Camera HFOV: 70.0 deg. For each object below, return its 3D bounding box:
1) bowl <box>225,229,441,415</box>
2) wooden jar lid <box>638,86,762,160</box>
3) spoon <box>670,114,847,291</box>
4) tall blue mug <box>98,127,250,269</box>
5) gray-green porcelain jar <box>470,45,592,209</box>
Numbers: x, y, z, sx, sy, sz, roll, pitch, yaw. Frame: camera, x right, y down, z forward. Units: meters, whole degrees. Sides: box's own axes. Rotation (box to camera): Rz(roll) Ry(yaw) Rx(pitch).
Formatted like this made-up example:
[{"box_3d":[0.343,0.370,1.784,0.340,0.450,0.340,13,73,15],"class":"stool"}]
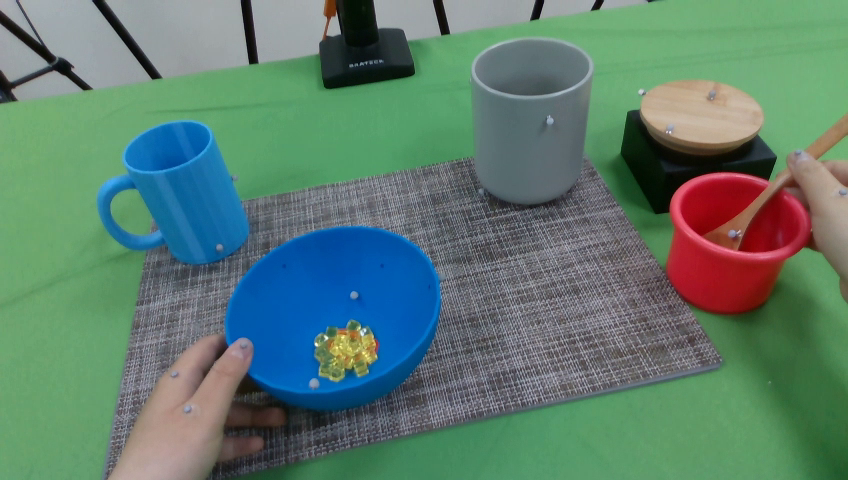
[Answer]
[{"box_3d":[-0.059,0.071,0.446,0.151,0.077,0.150,-3,44,4],"class":"bowl"},{"box_3d":[0.257,-0.110,0.571,0.108,0.021,0.107,-4,44,4],"class":"wooden jar lid"},{"box_3d":[0.269,-0.031,0.470,0.022,0.194,0.041,26,23,-33],"class":"spoon"},{"box_3d":[-0.221,-0.028,0.545,0.077,0.109,0.107,23,51,26],"class":"tall blue mug"},{"box_3d":[0.098,-0.101,0.570,0.106,0.128,0.105,-3,44,4],"class":"gray-green porcelain jar"}]
